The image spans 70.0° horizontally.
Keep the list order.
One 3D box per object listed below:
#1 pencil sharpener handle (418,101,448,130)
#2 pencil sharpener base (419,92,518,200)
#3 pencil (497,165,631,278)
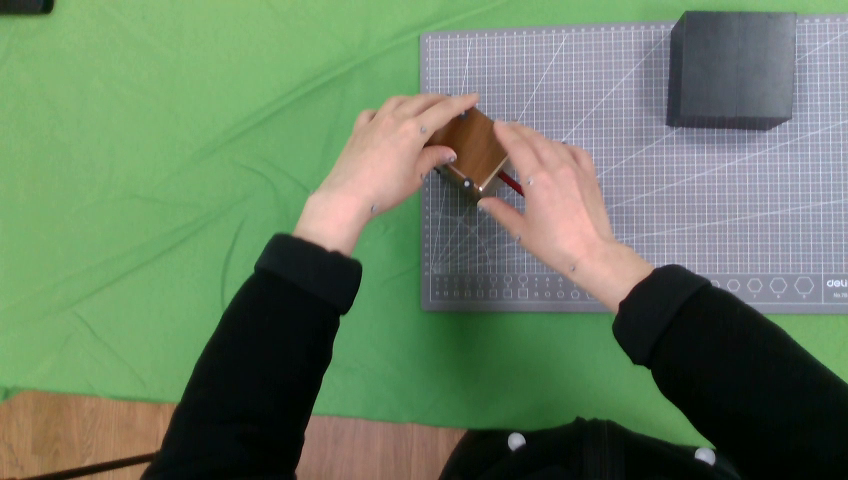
[{"bbox_3d":[0.003,-0.122,0.579,0.030,0.068,0.036,40,97,7],"label":"pencil sharpener handle"},{"bbox_3d":[0.043,-0.088,0.587,0.076,0.107,0.061,40,92,6],"label":"pencil sharpener base"},{"bbox_3d":[0.112,-0.030,0.554,0.194,0.012,0.012,40,93,1],"label":"pencil"}]
